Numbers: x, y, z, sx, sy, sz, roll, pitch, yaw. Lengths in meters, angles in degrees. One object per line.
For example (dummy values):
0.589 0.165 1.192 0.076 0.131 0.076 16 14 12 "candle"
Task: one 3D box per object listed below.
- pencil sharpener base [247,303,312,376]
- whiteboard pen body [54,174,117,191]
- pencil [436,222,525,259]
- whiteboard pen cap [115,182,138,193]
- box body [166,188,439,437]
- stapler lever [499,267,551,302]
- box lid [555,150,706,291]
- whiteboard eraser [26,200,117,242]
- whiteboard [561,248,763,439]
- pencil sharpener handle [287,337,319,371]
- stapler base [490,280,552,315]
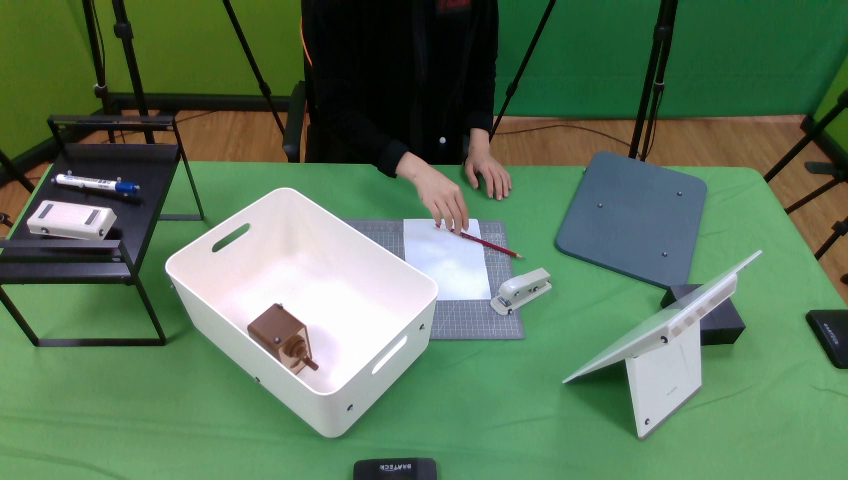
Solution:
-0.224 0.164 0.955 0.076 0.107 0.061 32 54 23 "pencil sharpener base"
-0.541 -0.093 0.993 0.140 0.017 0.017 7 46 9 "whiteboard pen body"
0.111 0.001 1.210 0.193 0.012 0.012 22 49 14 "pencil"
-0.483 -0.086 0.984 0.033 0.018 0.018 7 46 10 "whiteboard pen cap"
-0.190 0.108 0.980 0.362 0.161 0.254 32 52 24 "box body"
0.185 0.076 1.101 0.118 0.040 0.026 -25 57 -29 "stapler lever"
0.451 -0.059 1.297 0.263 0.015 0.370 20 48 15 "box lid"
-0.532 -0.026 0.919 0.113 0.042 0.055 7 45 3 "whiteboard eraser"
0.386 0.176 0.905 0.217 0.306 0.143 -26 72 -27 "whiteboard"
-0.182 0.178 0.928 0.030 0.068 0.036 32 68 23 "pencil sharpener handle"
0.181 0.094 1.118 0.130 0.024 0.041 -24 57 -29 "stapler base"
